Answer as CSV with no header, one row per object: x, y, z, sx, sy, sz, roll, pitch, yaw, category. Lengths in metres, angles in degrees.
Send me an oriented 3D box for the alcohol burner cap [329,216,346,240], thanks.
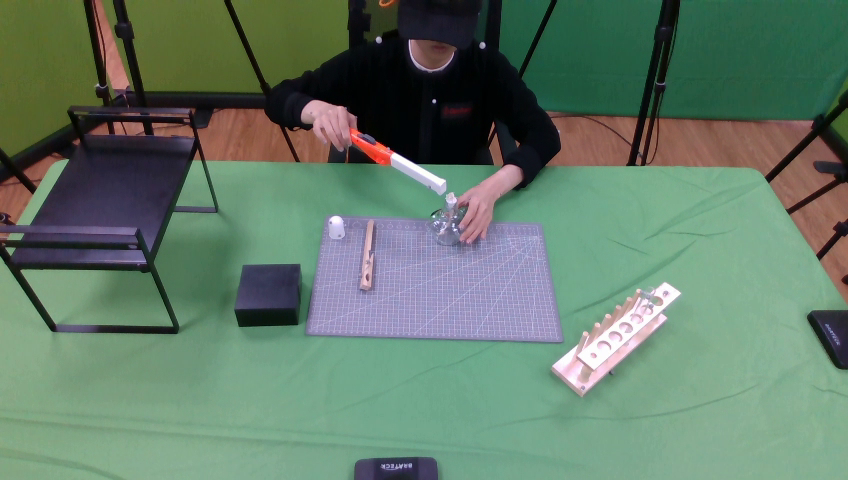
-0.171,-0.026,1.190,0.034,0.048,0.033,1,47,-1,alcohol burner cap

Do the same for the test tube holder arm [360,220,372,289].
-0.110,0.024,1.161,0.013,0.015,0.177,27,38,-27,test tube holder arm

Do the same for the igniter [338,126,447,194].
-0.068,-0.162,1.194,0.275,0.057,0.025,31,60,25,igniter

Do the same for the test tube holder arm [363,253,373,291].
-0.104,0.058,1.132,0.010,0.015,0.087,28,38,-26,test tube holder arm

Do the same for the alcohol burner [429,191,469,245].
0.050,-0.048,1.176,0.078,0.120,0.077,2,45,-2,alcohol burner

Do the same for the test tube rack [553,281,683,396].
0.329,0.153,1.023,0.242,0.085,0.066,-30,54,-28,test tube rack

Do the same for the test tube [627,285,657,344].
0.350,0.124,0.983,0.017,0.151,0.017,0,49,0,test tube
